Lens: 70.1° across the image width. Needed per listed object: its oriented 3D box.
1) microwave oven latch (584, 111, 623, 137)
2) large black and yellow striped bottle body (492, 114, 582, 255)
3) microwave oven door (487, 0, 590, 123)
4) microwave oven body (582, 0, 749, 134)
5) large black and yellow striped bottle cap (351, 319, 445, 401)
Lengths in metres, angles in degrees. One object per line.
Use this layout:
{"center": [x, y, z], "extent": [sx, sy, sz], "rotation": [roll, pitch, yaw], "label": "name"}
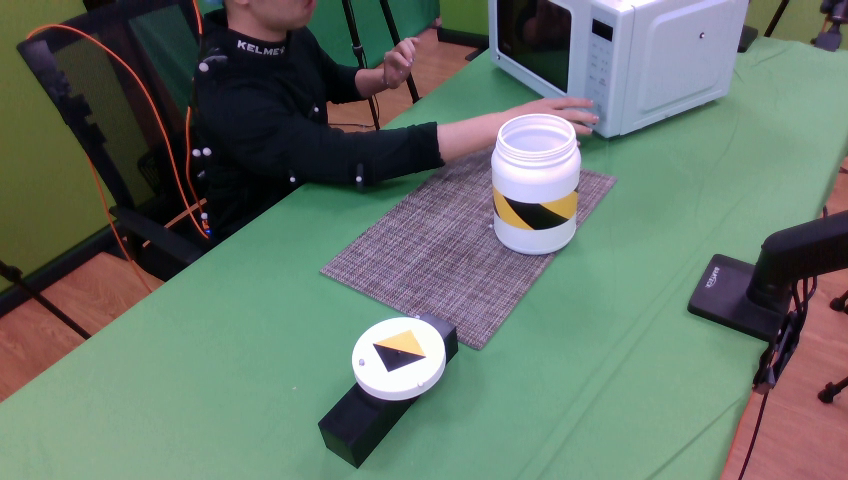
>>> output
{"center": [0.337, -0.222, 1.142], "extent": [0.030, 0.029, 0.078], "rotation": [-21, 42, -14], "label": "microwave oven latch"}
{"center": [0.169, -0.083, 0.912], "extent": [0.131, 0.185, 0.130], "rotation": [-4, 41, 4], "label": "large black and yellow striped bottle body"}
{"center": [0.231, -0.420, 1.230], "extent": [0.039, 0.245, 0.352], "rotation": [-22, 43, -16], "label": "microwave oven door"}
{"center": [0.382, -0.444, 1.246], "extent": [0.327, 0.261, 0.437], "rotation": [-22, 42, -16], "label": "microwave oven body"}
{"center": [-0.031, 0.143, 0.735], "extent": [0.115, 0.019, 0.114], "rotation": [-3, 40, 3], "label": "large black and yellow striped bottle cap"}
